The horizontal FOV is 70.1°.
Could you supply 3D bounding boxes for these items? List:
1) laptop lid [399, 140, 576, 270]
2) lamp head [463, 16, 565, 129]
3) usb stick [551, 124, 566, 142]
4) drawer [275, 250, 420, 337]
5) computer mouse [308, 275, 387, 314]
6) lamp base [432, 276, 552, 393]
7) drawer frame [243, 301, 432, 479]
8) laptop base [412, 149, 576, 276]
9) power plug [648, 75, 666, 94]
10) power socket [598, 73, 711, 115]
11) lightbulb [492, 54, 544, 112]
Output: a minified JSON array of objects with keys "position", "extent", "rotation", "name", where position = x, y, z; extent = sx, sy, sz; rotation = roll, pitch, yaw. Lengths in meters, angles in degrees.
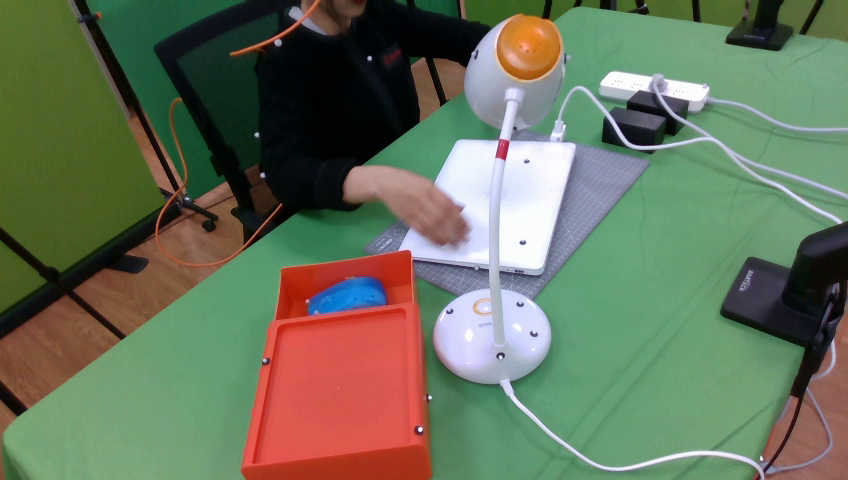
[{"position":[0.119,-0.078,1.042],"extent":[0.240,0.013,0.356],"rotation":[6,42,21],"name":"laptop lid"},{"position":[0.101,-0.184,0.655],"extent":[0.112,0.112,0.123],"rotation":[-9,1,0],"name":"lamp head"},{"position":[0.254,-0.193,1.151],"extent":[0.021,0.027,0.059],"rotation":[12,48,17],"name":"usb stick"},{"position":[-0.104,0.117,0.825],"extent":[0.194,0.073,0.210],"rotation":[-8,40,1],"name":"drawer"},{"position":[-0.112,0.089,0.881],"extent":[0.117,0.041,0.062],"rotation":[-16,43,-1],"name":"computer mouse"},{"position":[0.085,0.075,0.756],"extent":[0.161,0.181,0.178],"rotation":[-14,44,-6],"name":"lamp base"},{"position":[-0.096,0.185,0.738],"extent":[0.202,0.083,0.212],"rotation":[-8,40,1],"name":"drawer frame"},{"position":[0.123,-0.069,1.049],"extent":[0.234,0.023,0.354],"rotation":[4,42,20],"name":"laptop base"},{"position":[0.457,-0.301,1.212],"extent":[0.073,0.053,0.035],"rotation":[-36,47,-28],"name":"power plug"},{"position":[0.470,-0.303,1.249],"extent":[0.225,0.033,0.072],"rotation":[20,49,30],"name":"power socket"},{"position":[0.109,-0.181,0.679],"extent":[0.059,0.059,0.107],"rotation":[-10,-3,0],"name":"lightbulb"}]
